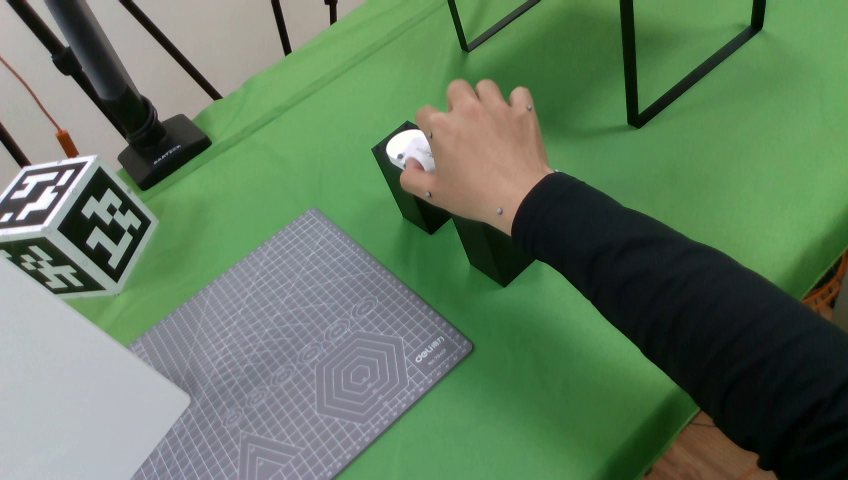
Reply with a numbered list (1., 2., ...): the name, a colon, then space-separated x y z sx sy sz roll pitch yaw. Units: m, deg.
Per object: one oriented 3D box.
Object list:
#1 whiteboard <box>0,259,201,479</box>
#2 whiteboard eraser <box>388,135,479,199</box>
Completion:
1. whiteboard: -0.396 0.138 0.512 0.143 0.308 0.216 0 48 48
2. whiteboard eraser: 0.006 -0.069 0.549 0.041 0.019 0.100 -41 48 -17
